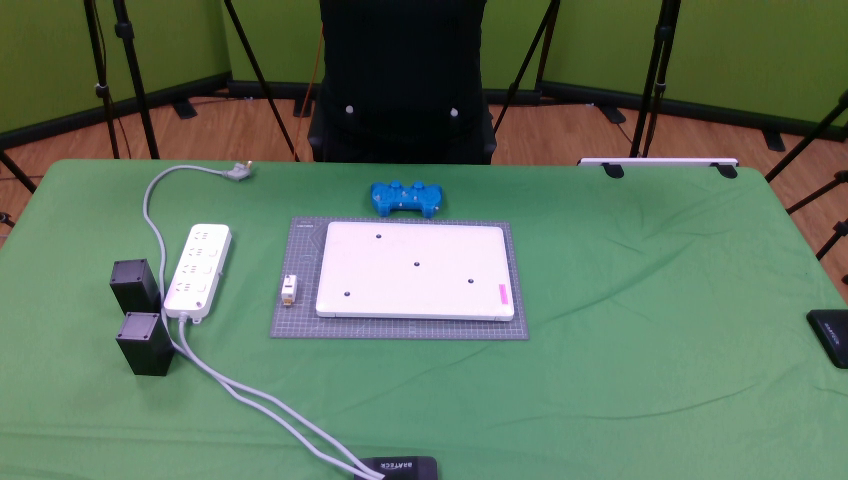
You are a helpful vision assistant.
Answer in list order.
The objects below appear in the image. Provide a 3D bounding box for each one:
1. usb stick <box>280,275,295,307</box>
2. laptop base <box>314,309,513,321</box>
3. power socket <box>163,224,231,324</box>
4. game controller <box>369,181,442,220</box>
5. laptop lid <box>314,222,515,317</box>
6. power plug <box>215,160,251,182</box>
[{"bbox_3d":[-0.244,0.093,1.081,0.021,0.027,0.059,3,47,-4],"label":"usb stick"},{"bbox_3d":[-0.017,0.059,1.141,0.354,0.023,0.234,2,42,-3],"label":"laptop base"},{"bbox_3d":[-0.411,0.052,1.106,0.072,0.033,0.225,3,46,-3],"label":"power socket"},{"bbox_3d":[-0.039,-0.092,1.268,0.155,0.052,0.096,2,50,-2],"label":"game controller"},{"bbox_3d":[-0.016,0.049,1.134,0.357,0.013,0.240,3,43,-2],"label":"laptop lid"},{"bbox_3d":[-0.409,-0.155,1.303,0.072,0.035,0.052,22,66,2],"label":"power plug"}]
